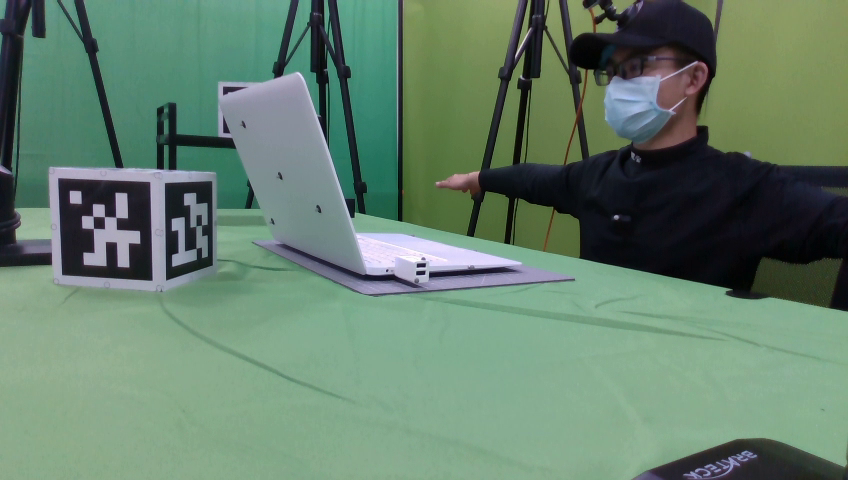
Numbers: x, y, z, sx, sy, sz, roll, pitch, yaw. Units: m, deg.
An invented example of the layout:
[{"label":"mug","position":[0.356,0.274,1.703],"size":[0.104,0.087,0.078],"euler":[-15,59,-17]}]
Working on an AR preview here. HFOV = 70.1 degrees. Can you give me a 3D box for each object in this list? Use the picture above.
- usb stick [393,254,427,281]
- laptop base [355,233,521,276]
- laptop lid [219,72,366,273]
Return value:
[{"label":"usb stick","position":[-0.020,0.030,0.694],"size":[0.021,0.027,0.059],"euler":[-4,5,-31]},{"label":"laptop base","position":[-0.056,0.017,0.898],"size":[0.237,0.023,0.352],"euler":[2,6,-32]},{"label":"laptop lid","position":[-0.189,-0.087,0.801],"size":[0.013,0.242,0.355],"euler":[-26,21,-26]}]
